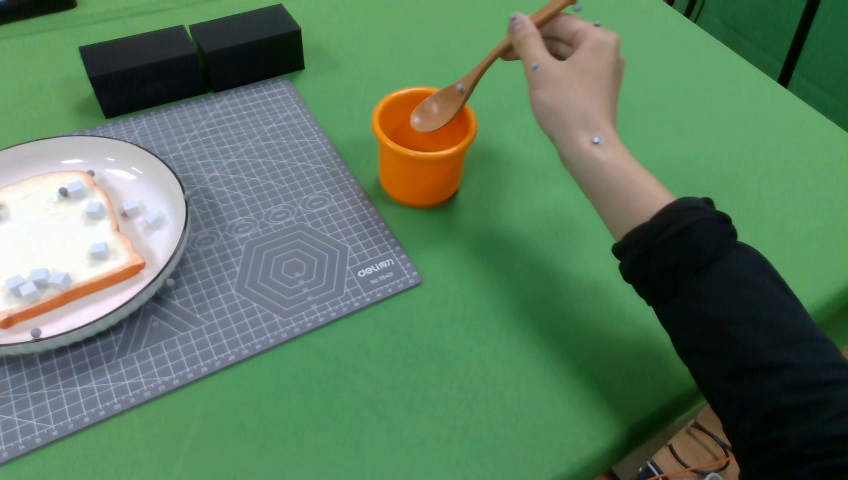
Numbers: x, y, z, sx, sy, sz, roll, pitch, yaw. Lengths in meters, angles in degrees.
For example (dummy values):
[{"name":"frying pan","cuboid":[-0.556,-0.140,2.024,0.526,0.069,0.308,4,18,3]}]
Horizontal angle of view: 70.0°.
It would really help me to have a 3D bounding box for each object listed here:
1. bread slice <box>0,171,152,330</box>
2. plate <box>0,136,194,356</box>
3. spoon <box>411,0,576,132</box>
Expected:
[{"name":"bread slice","cuboid":[-0.293,0.000,0.479,0.107,0.018,0.133,-29,61,-24]},{"name":"plate","cuboid":[-0.288,0.001,0.476,0.209,0.038,0.207,3,52,-3]},{"name":"spoon","cuboid":[0.061,-0.149,0.489,0.022,0.194,0.041,20,46,-41]}]
